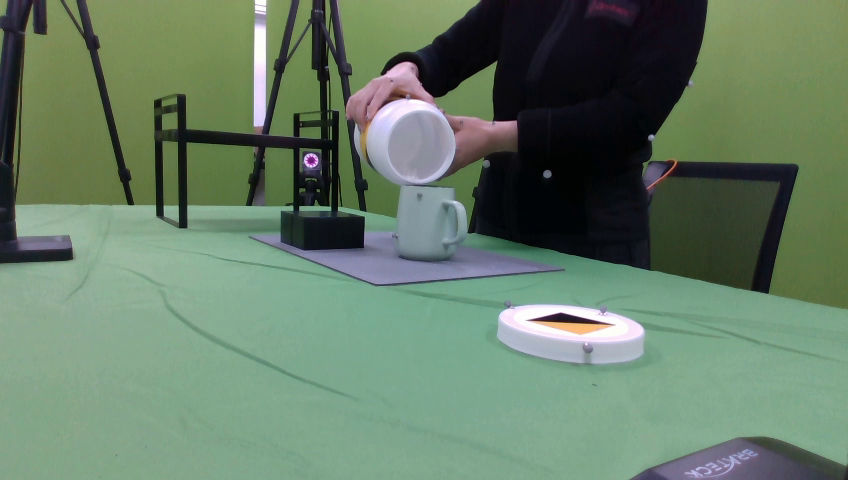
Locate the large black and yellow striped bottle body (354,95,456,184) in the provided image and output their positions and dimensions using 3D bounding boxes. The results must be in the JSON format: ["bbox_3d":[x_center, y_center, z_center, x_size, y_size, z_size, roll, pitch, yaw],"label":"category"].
[{"bbox_3d":[-0.031,-0.158,0.950,0.131,0.130,0.183,0,15,-18],"label":"large black and yellow striped bottle body"}]

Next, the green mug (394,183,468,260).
[{"bbox_3d":[0.015,-0.026,0.858,0.093,0.105,0.124,-4,9,-41],"label":"green mug"}]

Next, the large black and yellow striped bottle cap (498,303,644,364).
[{"bbox_3d":[0.117,0.072,0.486,0.115,0.019,0.115,1,8,0],"label":"large black and yellow striped bottle cap"}]
